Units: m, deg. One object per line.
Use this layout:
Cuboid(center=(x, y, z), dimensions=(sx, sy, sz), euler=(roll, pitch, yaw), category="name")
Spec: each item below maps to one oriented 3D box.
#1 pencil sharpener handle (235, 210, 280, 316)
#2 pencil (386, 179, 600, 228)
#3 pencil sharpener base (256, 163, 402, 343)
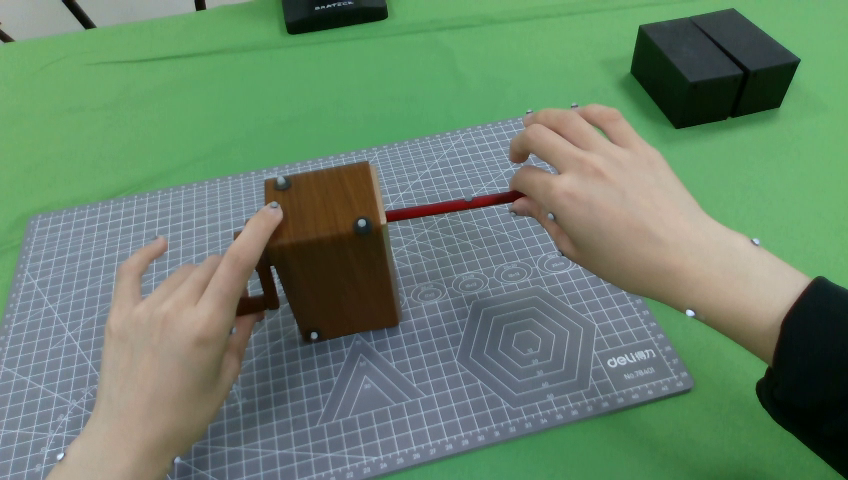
Cuboid(center=(-0.110, 0.017, 0.379), dimensions=(0.031, 0.068, 0.035), euler=(-11, 23, -4), category="pencil sharpener handle")
Cuboid(center=(0.019, -0.019, 0.385), dimensions=(0.194, 0.012, 0.012), euler=(-10, 48, -5), category="pencil")
Cuboid(center=(-0.060, 0.012, 0.398), dimensions=(0.077, 0.108, 0.060), euler=(-11, 48, -5), category="pencil sharpener base")
